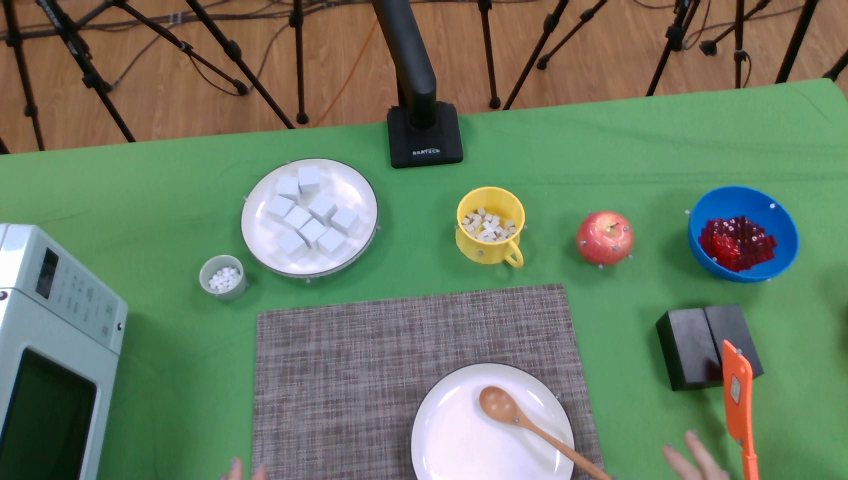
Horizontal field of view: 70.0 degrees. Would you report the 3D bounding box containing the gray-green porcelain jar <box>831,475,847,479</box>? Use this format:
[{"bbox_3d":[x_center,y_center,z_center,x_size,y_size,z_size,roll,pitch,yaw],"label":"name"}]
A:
[{"bbox_3d":[0.519,0.323,0.693,0.106,0.127,0.105,0,63,1],"label":"gray-green porcelain jar"}]

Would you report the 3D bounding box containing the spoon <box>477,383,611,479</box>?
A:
[{"bbox_3d":[0.149,0.243,0.767,0.192,0.022,0.041,29,55,28],"label":"spoon"}]

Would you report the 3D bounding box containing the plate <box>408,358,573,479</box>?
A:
[{"bbox_3d":[0.083,0.257,0.776,0.209,0.038,0.207,0,64,0],"label":"plate"}]

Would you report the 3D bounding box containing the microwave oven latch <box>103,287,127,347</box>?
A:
[{"bbox_3d":[-0.434,0.107,0.837,0.030,0.030,0.078,-1,64,-1],"label":"microwave oven latch"}]

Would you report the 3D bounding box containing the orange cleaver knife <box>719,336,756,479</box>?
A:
[{"bbox_3d":[0.394,0.228,0.762,0.012,0.077,0.211,-8,96,1],"label":"orange cleaver knife"}]

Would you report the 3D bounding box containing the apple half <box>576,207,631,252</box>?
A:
[{"bbox_3d":[0.270,-0.016,0.896,0.080,0.075,0.053,32,65,19],"label":"apple half"}]

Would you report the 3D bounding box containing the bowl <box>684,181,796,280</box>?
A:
[{"bbox_3d":[0.446,-0.002,0.884,0.151,0.077,0.150,0,64,1],"label":"bowl"}]

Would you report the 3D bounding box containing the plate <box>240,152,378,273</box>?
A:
[{"bbox_3d":[-0.173,-0.040,0.931,0.208,0.039,0.206,0,63,1],"label":"plate"}]

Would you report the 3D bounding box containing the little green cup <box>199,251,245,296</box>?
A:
[{"bbox_3d":[-0.292,0.052,0.883,0.061,0.039,0.061,1,64,-1],"label":"little green cup"}]

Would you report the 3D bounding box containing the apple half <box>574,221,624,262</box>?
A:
[{"bbox_3d":[0.247,0.012,0.881,0.081,0.082,0.032,33,65,16],"label":"apple half"}]

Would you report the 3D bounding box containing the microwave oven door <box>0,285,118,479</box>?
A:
[{"bbox_3d":[-0.430,0.256,0.649,0.039,0.245,0.352,-3,63,0],"label":"microwave oven door"}]

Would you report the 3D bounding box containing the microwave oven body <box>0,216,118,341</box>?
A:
[{"bbox_3d":[-0.577,0.226,0.670,0.326,0.262,0.438,-2,64,-1],"label":"microwave oven body"}]

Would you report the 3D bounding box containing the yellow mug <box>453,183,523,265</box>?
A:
[{"bbox_3d":[0.103,-0.016,0.901,0.100,0.064,0.130,-31,68,-15],"label":"yellow mug"}]
